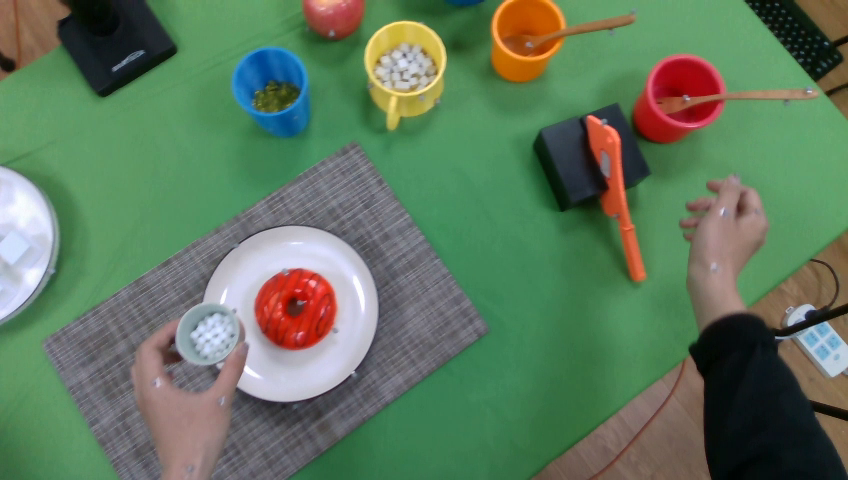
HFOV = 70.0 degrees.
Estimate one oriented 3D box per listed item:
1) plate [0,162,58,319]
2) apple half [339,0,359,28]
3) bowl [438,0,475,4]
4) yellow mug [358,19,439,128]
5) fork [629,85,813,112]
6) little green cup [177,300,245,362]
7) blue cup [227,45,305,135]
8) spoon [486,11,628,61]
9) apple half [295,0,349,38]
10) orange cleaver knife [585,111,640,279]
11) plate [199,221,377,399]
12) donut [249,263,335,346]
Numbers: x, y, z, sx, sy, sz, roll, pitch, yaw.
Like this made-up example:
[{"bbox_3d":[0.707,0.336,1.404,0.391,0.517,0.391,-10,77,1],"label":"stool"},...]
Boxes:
[{"bbox_3d":[-0.543,0.006,0.730,0.208,0.039,0.206,0,79,-1],"label":"plate"},{"bbox_3d":[-0.103,-0.318,0.786,0.033,0.081,0.081,-29,80,-4],"label":"apple half"},{"bbox_3d":[0.042,-0.370,0.799,0.151,0.077,0.151,0,80,-1],"label":"bowl"},{"bbox_3d":[-0.035,-0.205,0.771,0.100,0.064,0.130,13,80,0],"label":"yellow mug"},{"bbox_3d":[0.352,-0.174,0.736,0.206,0.019,0.028,5,61,42],"label":"fork"},{"bbox_3d":[-0.212,0.093,0.611,0.061,0.039,0.061,0,79,3],"label":"little green cup"},{"bbox_3d":[-0.185,-0.175,0.743,0.093,0.100,0.092,1,80,-3],"label":"blue cup"},{"bbox_3d":[0.157,-0.253,0.744,0.022,0.192,0.041,24,74,-42],"label":"spoon"},{"bbox_3d":[-0.137,-0.298,0.783,0.053,0.075,0.080,-29,84,-4],"label":"apple half"},{"bbox_3d":[0.229,-0.053,0.741,0.012,0.076,0.212,-19,109,-2],"label":"orange cleaver knife"},{"bbox_3d":[-0.159,0.081,0.722,0.209,0.038,0.208,0,79,-1],"label":"plate"},{"bbox_3d":[-0.155,0.076,0.712,0.099,0.048,0.098,0,80,-1],"label":"donut"}]
